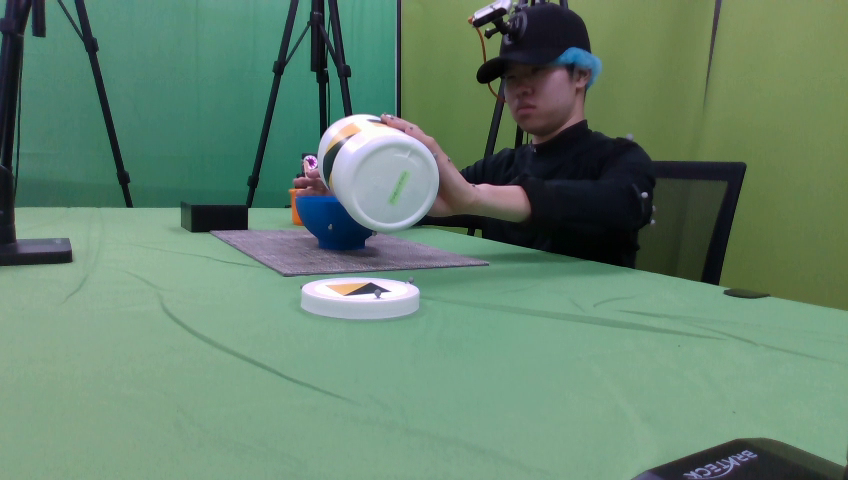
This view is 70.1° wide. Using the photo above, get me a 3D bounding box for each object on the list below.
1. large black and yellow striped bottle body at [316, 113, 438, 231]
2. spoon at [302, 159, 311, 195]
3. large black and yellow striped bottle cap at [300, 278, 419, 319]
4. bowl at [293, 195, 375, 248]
[{"bbox_3d":[-0.073,-0.101,0.827,0.131,0.130,0.183,-1,21,-24],"label":"large black and yellow striped bottle body"},{"bbox_3d":[-0.257,-0.113,1.341,0.042,0.193,0.021,3,-38,-18],"label":"spoon"},{"bbox_3d":[-0.062,0.055,0.588,0.115,0.019,0.115,1,6,0],"label":"large black and yellow striped bottle cap"},{"bbox_3d":[-0.132,-0.029,0.962,0.151,0.077,0.151,2,7,0],"label":"bowl"}]
